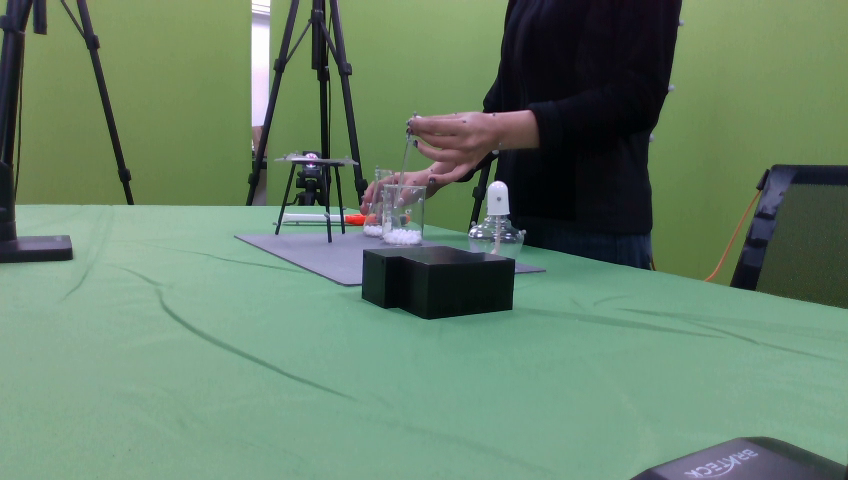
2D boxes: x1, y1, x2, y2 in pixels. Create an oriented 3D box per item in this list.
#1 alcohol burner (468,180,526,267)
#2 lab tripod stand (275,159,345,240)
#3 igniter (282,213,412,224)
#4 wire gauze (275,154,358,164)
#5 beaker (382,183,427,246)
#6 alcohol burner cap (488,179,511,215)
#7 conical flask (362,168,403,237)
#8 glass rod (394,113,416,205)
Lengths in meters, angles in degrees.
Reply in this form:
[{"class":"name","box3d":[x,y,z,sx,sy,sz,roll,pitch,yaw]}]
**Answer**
[{"class":"alcohol burner","box3d":[0.101,-0.022,0.821,0.078,0.119,0.078,4,8,0]},{"class":"lab tripod stand","box3d":[-0.181,-0.072,1.039,0.148,0.131,0.148,4,8,0]},{"class":"igniter","box3d":[-0.159,-0.046,1.287,0.278,0.025,0.057,-1,-3,-21]},{"class":"wire gauze","box3d":[-0.179,-0.137,1.028,0.121,0.011,0.125,4,8,0]},{"class":"beaker","box3d":[-0.032,-0.044,1.008,0.074,0.100,0.084,6,8,22]},{"class":"alcohol burner cap","box3d":[0.101,-0.058,0.816,0.034,0.048,0.034,-4,9,1]},{"class":"conical flask","box3d":[-0.073,-0.069,1.096,0.075,0.122,0.075,3,7,0]},{"class":"glass rod","box3d":[-0.030,-0.123,0.958,0.008,0.199,0.008,6,51,-8]}]
